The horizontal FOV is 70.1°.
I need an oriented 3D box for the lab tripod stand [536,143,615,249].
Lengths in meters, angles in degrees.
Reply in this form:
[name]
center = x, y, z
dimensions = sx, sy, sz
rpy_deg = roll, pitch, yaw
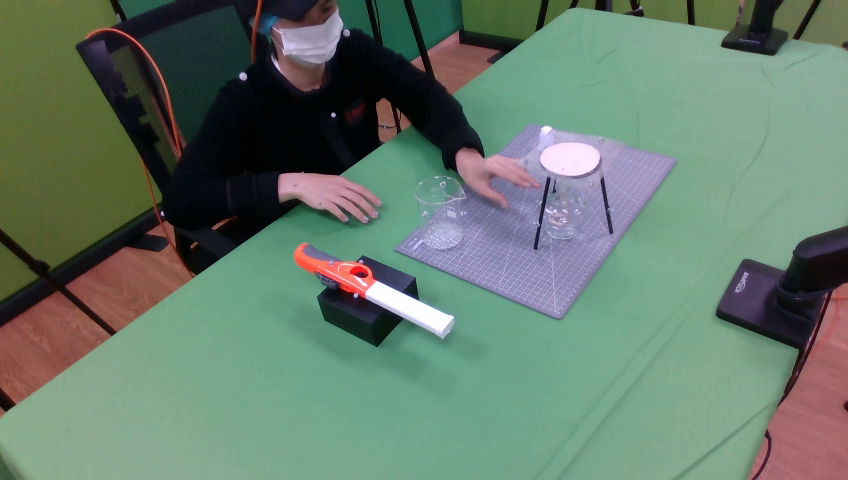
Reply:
[lab tripod stand]
center = 0.224, -0.069, 0.931
dimensions = 0.148, 0.132, 0.147
rpy_deg = -4, 42, 4

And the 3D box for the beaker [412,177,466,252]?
[beaker]
center = 0.029, -0.038, 0.952
dimensions = 0.083, 0.101, 0.074
rpy_deg = 9, 43, 18

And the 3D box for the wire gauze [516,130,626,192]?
[wire gauze]
center = 0.216, -0.124, 0.892
dimensions = 0.124, 0.011, 0.122
rpy_deg = 22, 49, 31

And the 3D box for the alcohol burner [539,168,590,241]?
[alcohol burner]
center = 0.217, -0.059, 0.935
dimensions = 0.078, 0.119, 0.077
rpy_deg = -6, 40, 6

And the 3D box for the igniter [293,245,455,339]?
[igniter]
center = -0.079, 0.066, 0.834
dimensions = 0.274, 0.025, 0.057
rpy_deg = 23, 48, 27

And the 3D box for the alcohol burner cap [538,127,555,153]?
[alcohol burner cap]
center = 0.234, -0.191, 1.147
dimensions = 0.034, 0.048, 0.033
rpy_deg = -5, 40, 5
